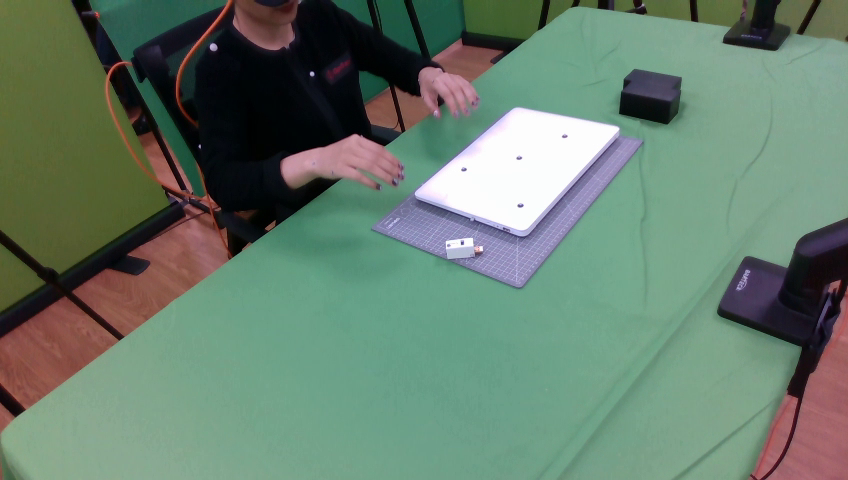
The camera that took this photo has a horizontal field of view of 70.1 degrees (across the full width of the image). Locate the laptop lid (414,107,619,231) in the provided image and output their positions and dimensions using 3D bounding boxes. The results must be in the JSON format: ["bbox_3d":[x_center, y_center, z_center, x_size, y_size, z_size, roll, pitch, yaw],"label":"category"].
[{"bbox_3d":[0.174,-0.147,1.106,0.239,0.013,0.358,22,49,34],"label":"laptop lid"}]

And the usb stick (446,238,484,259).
[{"bbox_3d":[0.064,0.013,0.946,0.059,0.027,0.021,-4,41,3],"label":"usb stick"}]

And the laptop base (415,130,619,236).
[{"bbox_3d":[0.178,-0.137,1.112,0.233,0.023,0.355,20,48,34],"label":"laptop base"}]
